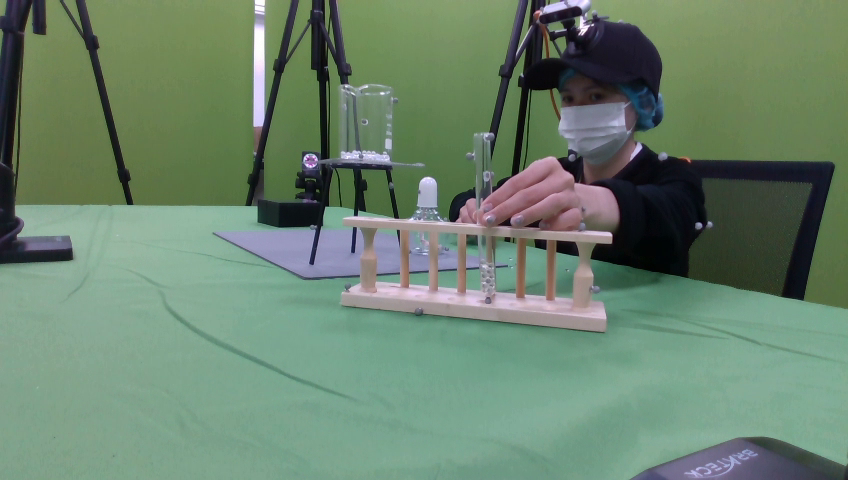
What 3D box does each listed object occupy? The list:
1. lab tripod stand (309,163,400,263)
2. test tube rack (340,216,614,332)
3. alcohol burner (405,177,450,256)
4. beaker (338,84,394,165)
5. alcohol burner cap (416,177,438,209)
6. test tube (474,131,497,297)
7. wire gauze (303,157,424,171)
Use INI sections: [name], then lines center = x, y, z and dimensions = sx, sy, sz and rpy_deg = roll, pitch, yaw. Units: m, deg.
[lab tripod stand]
center = -0.091, -0.037, 0.813
dimensions = 0.148, 0.131, 0.148
rpy_deg = 1, 6, 0
[test tube rack]
center = 0.048, 0.026, 0.568
dimensions = 0.242, 0.085, 0.067
rpy_deg = 4, 8, 13
[alcohol burner]
center = 0.004, -0.036, 0.917
dimensions = 0.078, 0.119, 0.078
rpy_deg = 3, 6, 0
[beaker]
center = -0.077, -0.149, 0.792
dimensions = 0.074, 0.100, 0.084
rpy_deg = 2, 6, 9
[alcohol burner cap]
center = 0.005, -0.072, 0.914
dimensions = 0.034, 0.048, 0.034
rpy_deg = 3, 10, 0
[test tube]
center = 0.056, -0.023, 0.545
dimensions = 0.017, 0.150, 0.017
rpy_deg = -3, 6, 1
[wire gauze]
center = -0.082, -0.101, 0.799
dimensions = 0.126, 0.011, 0.121
rpy_deg = 1, 7, -30
